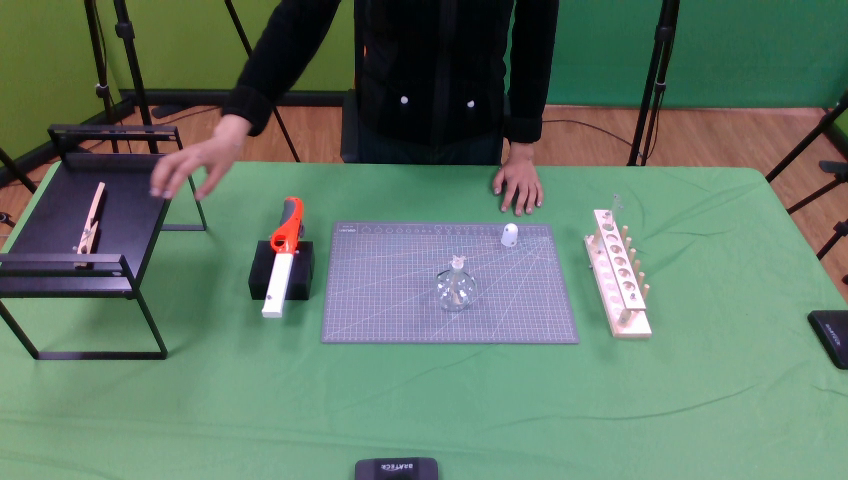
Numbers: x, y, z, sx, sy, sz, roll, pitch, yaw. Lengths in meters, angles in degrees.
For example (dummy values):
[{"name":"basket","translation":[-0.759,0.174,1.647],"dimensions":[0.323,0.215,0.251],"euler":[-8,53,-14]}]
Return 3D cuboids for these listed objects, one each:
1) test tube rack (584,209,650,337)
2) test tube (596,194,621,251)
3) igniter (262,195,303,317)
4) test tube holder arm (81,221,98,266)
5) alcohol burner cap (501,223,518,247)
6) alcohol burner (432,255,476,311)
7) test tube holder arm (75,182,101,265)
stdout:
[{"name":"test tube rack","translation":[0.365,0.056,1.129],"dimensions":[0.067,0.085,0.240],"euler":[1,46,-4]},{"name":"test tube","translation":[0.346,-0.029,1.141],"dimensions":[0.017,0.151,0.017],"euler":[0,50,0]},{"name":"igniter","translation":[-0.253,0.019,1.090],"dimensions":[0.057,0.025,0.275],"euler":[0,49,0]},{"name":"test tube holder arm","translation":[-0.503,0.004,0.910],"dimensions":[0.010,0.015,0.087],"euler":[26,32,-36]},{"name":"alcohol burner cap","translation":[0.172,-0.013,1.207],"dimensions":[0.034,0.048,0.033],"euler":[1,45,-1]},{"name":"alcohol burner","translation":[0.055,0.070,1.068],"dimensions":[0.078,0.119,0.077],"euler":[3,45,-3]},{"name":"test tube holder arm","translation":[-0.518,-0.030,0.937],"dimensions":[0.013,0.015,0.177],"euler":[25,33,-37]}]
